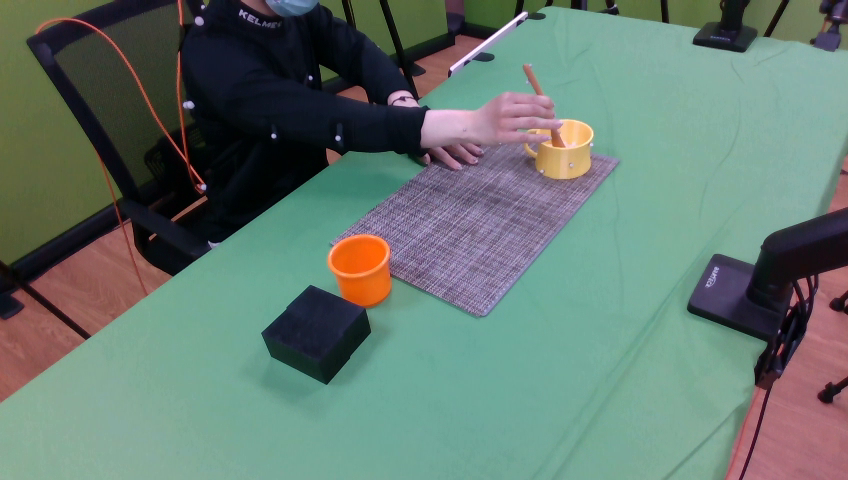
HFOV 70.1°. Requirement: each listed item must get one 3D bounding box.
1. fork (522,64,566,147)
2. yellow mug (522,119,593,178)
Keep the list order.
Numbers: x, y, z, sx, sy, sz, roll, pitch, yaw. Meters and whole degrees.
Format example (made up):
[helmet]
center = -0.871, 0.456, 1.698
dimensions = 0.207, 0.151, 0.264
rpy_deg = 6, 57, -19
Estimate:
[fork]
center = 0.209, -0.212, 1.023
dimensions = 0.028, 0.209, 0.018
rpy_deg = 15, 57, 48
[yellow mug]
center = 0.237, -0.169, 1.092
dimensions = 0.130, 0.064, 0.100
rpy_deg = 17, 46, 27
